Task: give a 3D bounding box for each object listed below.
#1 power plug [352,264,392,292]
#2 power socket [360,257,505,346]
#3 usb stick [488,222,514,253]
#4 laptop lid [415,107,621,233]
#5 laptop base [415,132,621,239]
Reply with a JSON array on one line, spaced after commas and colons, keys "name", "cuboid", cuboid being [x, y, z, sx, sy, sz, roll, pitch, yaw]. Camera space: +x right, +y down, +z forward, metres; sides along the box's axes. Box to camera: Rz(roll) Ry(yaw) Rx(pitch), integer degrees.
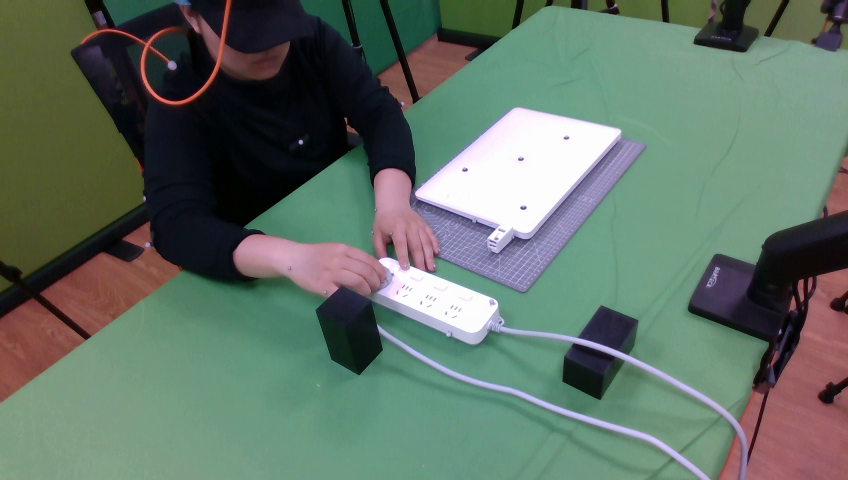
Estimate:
[{"name": "power plug", "cuboid": [-0.078, 0.062, 0.867, 0.073, 0.053, 0.035, -34, 45, -26]}, {"name": "power socket", "cuboid": [0.004, 0.084, 0.862, 0.225, 0.033, 0.072, 21, 49, 29]}, {"name": "usb stick", "cuboid": [0.124, -0.008, 0.944, 0.021, 0.027, 0.059, 25, 47, 31]}, {"name": "laptop lid", "cuboid": [0.176, -0.144, 1.095, 0.239, 0.013, 0.358, 23, 48, 33]}, {"name": "laptop base", "cuboid": [0.179, -0.134, 1.102, 0.233, 0.023, 0.355, 20, 47, 33]}]
